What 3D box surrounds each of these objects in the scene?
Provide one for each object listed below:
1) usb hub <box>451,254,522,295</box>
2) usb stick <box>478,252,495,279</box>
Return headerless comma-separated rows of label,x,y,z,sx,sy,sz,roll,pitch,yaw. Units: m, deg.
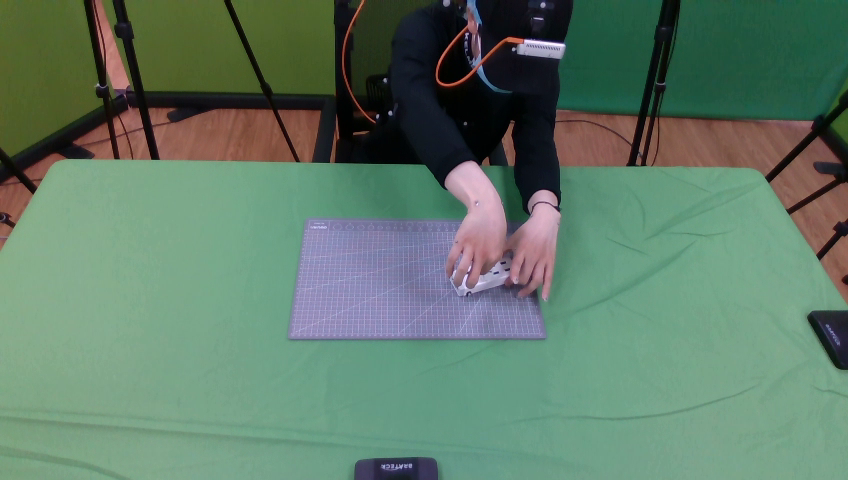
usb hub,0.116,0.065,1.133,0.125,0.025,0.049,-15,49,-16
usb stick,0.113,0.051,1.096,0.021,0.059,0.027,-17,48,-17
